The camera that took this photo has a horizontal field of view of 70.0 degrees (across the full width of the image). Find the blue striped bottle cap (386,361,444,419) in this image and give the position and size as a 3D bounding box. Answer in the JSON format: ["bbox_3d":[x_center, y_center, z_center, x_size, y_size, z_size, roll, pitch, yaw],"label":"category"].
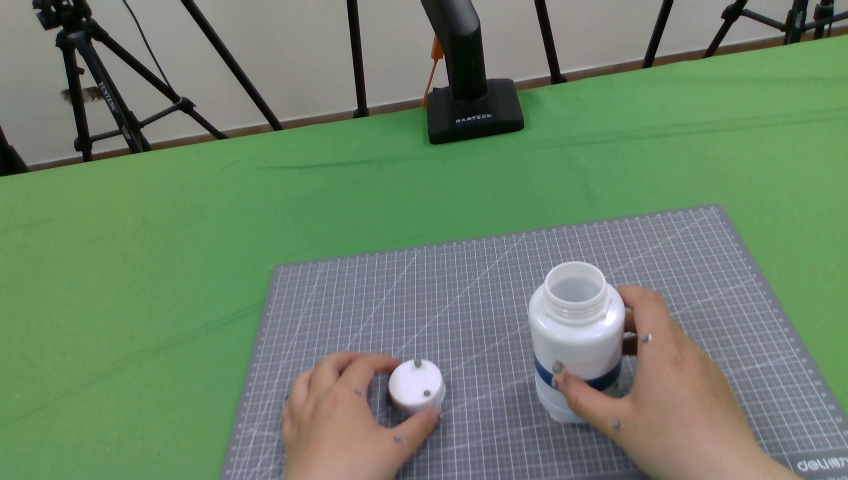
[{"bbox_3d":[-0.007,0.118,0.481,0.044,0.021,0.044,-5,39,4],"label":"blue striped bottle cap"}]

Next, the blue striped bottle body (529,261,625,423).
[{"bbox_3d":[0.106,0.070,0.424,0.063,0.122,0.062,-7,42,6],"label":"blue striped bottle body"}]
